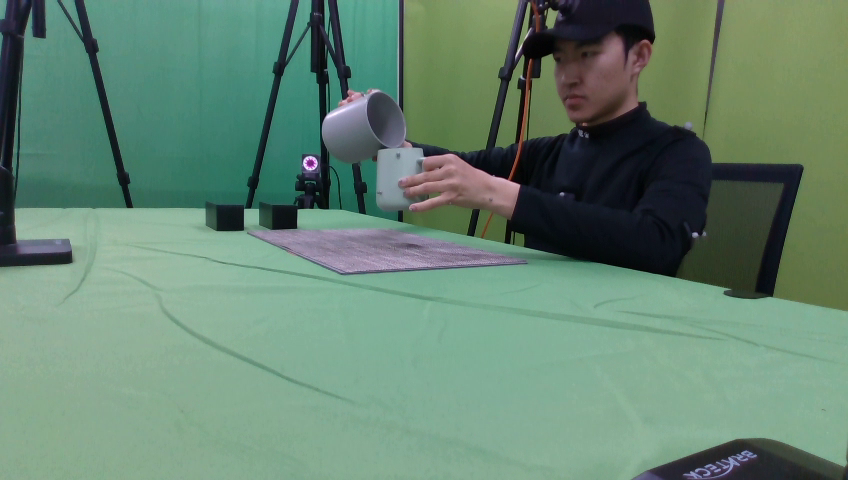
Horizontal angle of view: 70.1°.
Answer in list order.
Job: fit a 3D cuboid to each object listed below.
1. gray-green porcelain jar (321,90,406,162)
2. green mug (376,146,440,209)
[{"bbox_3d":[-0.114,-0.202,1.095,0.126,0.105,0.106,-13,-4,38],"label":"gray-green porcelain jar"},{"bbox_3d":[-0.026,-0.106,1.034,0.125,0.105,0.093,0,5,36],"label":"green mug"}]
